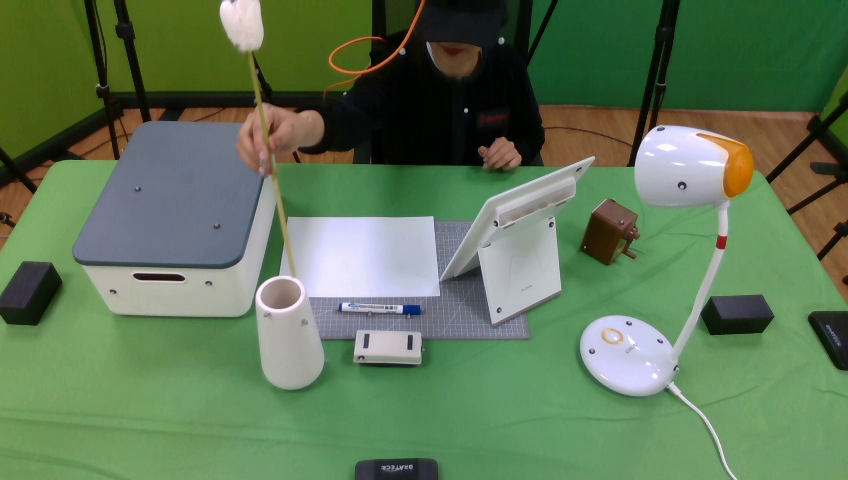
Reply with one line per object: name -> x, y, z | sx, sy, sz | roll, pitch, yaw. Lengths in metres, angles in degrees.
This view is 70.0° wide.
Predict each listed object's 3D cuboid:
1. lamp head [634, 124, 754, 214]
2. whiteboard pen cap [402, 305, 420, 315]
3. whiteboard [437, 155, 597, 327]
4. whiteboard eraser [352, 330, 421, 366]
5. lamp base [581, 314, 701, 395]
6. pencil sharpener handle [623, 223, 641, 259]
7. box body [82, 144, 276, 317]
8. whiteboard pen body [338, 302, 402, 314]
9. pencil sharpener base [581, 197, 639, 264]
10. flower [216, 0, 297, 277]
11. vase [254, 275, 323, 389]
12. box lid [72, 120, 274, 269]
lamp head -> 0.351, -0.089, 0.775 | 0.112, 0.113, 0.122 | -30, 30, -28
whiteboard pen cap -> -0.024, 0.123, 1.076 | 0.033, 0.018, 0.018 | 1, 46, 0
whiteboard -> 0.180, 0.024, 1.029 | 0.217, 0.306, 0.143 | -22, 71, -23
whiteboard eraser -> -0.061, 0.180, 1.005 | 0.113, 0.042, 0.055 | 3, 48, -2
lamp base -> 0.361, 0.145, 0.972 | 0.178, 0.181, 0.160 | 34, 53, 23
pencil sharpener handle -> 0.399, 0.003, 1.146 | 0.030, 0.068, 0.036 | 35, 45, 26
box body -> -0.421, -0.041, 1.108 | 0.254, 0.161, 0.361 | 2, 46, -3
whiteboard pen body -> -0.083, 0.121, 1.074 | 0.141, 0.017, 0.017 | 3, 46, -2
pencil sharpener base -> 0.362, -0.016, 1.178 | 0.076, 0.107, 0.061 | 35, 53, 26
flower -> -0.199, -0.113, 0.769 | 0.044, 0.363, 0.038 | -12, 25, -12
vase -> -0.209, 0.143, 0.921 | 0.098, 0.201, 0.097 | 1, 46, -1
box lid -> -0.417, -0.094, 1.056 | 0.263, 0.015, 0.369 | 1, 47, -3
